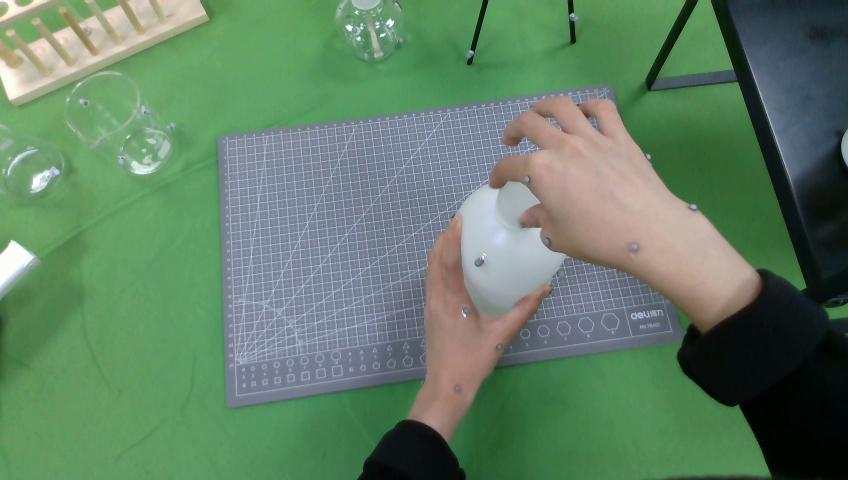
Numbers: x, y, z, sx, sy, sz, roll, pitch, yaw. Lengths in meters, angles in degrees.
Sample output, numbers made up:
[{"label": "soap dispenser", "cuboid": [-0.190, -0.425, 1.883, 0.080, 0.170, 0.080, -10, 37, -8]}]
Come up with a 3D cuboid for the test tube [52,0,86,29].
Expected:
[{"label": "test tube", "cuboid": [-0.408, -0.280, 0.643, 0.017, 0.151, 0.017, -2, 68, 5]}]

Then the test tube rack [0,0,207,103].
[{"label": "test tube rack", "cuboid": [-0.384, -0.254, 0.687, 0.242, 0.086, 0.066, -28, 72, -9]}]

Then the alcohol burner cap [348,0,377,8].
[{"label": "alcohol burner cap", "cuboid": [-0.066, -0.272, 0.636, 0.034, 0.048, 0.033, 0, 69, 0]}]

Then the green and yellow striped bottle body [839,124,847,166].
[{"label": "green and yellow striped bottle body", "cuboid": [0.349, -0.088, 0.411, 0.063, 0.120, 0.063, 0, 70, 1]}]

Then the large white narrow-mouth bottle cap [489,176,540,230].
[{"label": "large white narrow-mouth bottle cap", "cuboid": [0.067, -0.027, 0.444, 0.038, 0.024, 0.037, 0, 73, 1]}]

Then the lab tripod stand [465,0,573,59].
[{"label": "lab tripod stand", "cuboid": [0.104, -0.280, 0.664, 0.148, 0.132, 0.147, 0, 69, 0]}]

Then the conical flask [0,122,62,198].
[{"label": "conical flask", "cuboid": [-0.436, -0.098, 0.614, 0.075, 0.122, 0.075, 0, 70, 1]}]

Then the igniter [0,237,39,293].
[{"label": "igniter", "cuboid": [-0.467, 0.109, 0.543, 0.057, 0.025, 0.276, 35, 72, 10]}]

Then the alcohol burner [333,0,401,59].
[{"label": "alcohol burner", "cuboid": [-0.064, -0.258, 0.670, 0.078, 0.120, 0.077, 0, 69, 0]}]

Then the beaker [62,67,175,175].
[{"label": "beaker", "cuboid": [-0.312, -0.116, 0.631, 0.074, 0.101, 0.083, 7, 71, 4]}]

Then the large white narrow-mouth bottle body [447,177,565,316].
[{"label": "large white narrow-mouth bottle body", "cuboid": [0.071, 0.001, 0.533, 0.102, 0.196, 0.101, 0, 72, 2]}]

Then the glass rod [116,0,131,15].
[{"label": "glass rod", "cuboid": [-0.368, -0.313, 0.637, 0.008, 0.201, 0.008, -3, 65, 7]}]
